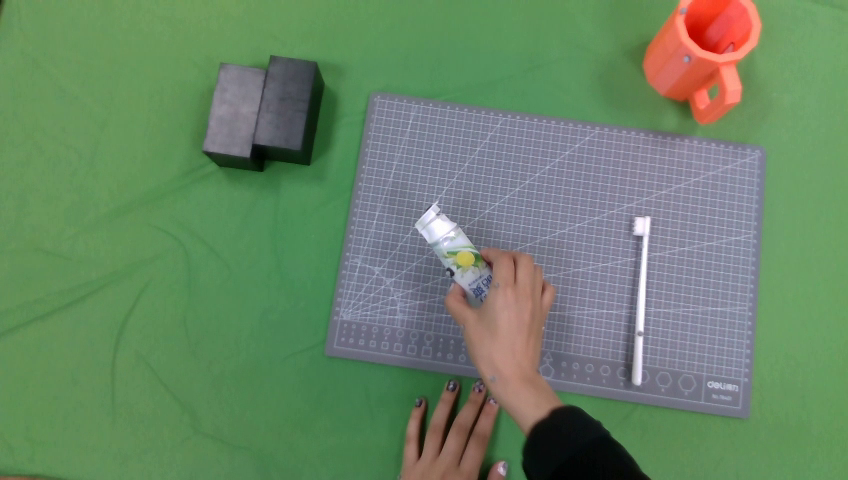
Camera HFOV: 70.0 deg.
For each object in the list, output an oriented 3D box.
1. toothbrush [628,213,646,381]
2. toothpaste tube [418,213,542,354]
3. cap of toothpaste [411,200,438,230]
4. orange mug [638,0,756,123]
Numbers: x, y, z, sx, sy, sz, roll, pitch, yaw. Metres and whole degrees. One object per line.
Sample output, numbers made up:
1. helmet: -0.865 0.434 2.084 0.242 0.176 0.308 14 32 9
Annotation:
1. toothbrush: 0.226 0.059 0.647 0.016 0.014 0.181 5 80 4
2. toothpaste tube: 0.051 0.040 0.617 0.055 0.034 0.165 -37 97 7
3. cap of toothpaste: 0.002 -0.025 0.606 0.011 0.037 0.037 42 82 0
4. orange mug: 0.295 -0.195 0.651 0.083 0.101 0.125 -13 76 -2
